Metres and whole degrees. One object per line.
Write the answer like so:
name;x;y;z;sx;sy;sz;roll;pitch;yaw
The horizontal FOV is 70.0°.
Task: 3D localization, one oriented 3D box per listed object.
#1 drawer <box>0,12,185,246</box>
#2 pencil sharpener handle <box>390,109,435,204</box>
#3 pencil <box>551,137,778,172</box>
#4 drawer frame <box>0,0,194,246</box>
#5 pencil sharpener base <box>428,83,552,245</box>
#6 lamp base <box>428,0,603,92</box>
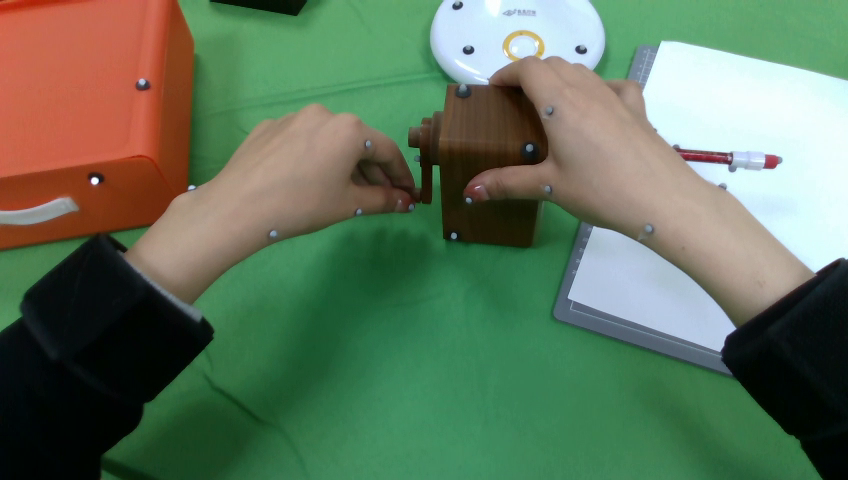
drawer;-0.296;-0.102;0.486;0.194;0.074;0.209;-10;56;-3
pencil sharpener handle;-0.008;-0.055;0.410;0.030;0.068;0.035;4;32;6
pencil;0.127;-0.058;0.392;0.194;0.012;0.012;6;56;4
drawer frame;-0.298;-0.104;0.486;0.202;0.083;0.211;-11;56;-4
pencil sharpener base;0.044;-0.050;0.421;0.076;0.108;0.061;4;57;6
lamp base;0.078;-0.244;0.504;0.161;0.182;0.177;-9;54;-4
